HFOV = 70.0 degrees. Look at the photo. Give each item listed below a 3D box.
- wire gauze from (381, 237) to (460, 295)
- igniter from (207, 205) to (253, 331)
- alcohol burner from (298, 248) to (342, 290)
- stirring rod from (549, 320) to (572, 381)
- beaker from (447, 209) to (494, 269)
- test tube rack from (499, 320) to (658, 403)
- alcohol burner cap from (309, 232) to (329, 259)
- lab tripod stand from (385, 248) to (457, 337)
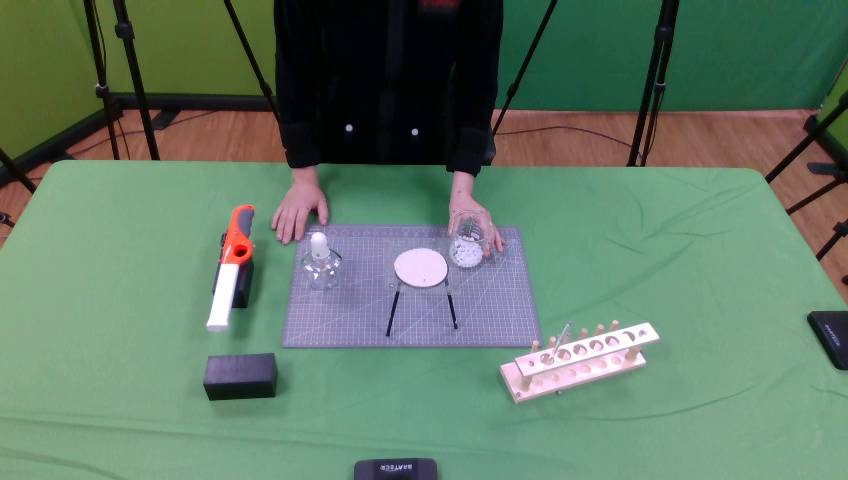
[{"bbox_3d":[-0.008,0.040,0.984,0.125,0.011,0.120,0,44,-4],"label":"wire gauze"},{"bbox_3d":[-0.339,0.038,1.066,0.057,0.025,0.274,2,48,-6],"label":"igniter"},{"bbox_3d":[-0.187,0.032,1.084,0.078,0.120,0.077,1,46,-1],"label":"alcohol burner"},{"bbox_3d":[0.202,0.168,0.901,0.006,0.177,0.014,-16,54,-10],"label":"stirring rod"},{"bbox_3d":[0.085,0.002,1.141,0.084,0.101,0.073,17,56,7],"label":"beaker"},{"bbox_3d":[0.252,0.187,0.994,0.243,0.085,0.066,-12,48,-15],"label":"test tube rack"},{"bbox_3d":[-0.186,0.008,1.058,0.034,0.048,0.033,0,43,0],"label":"alcohol burner cap"},{"bbox_3d":[-0.010,0.087,1.032,0.148,0.132,0.147,1,45,-1],"label":"lab tripod stand"}]
